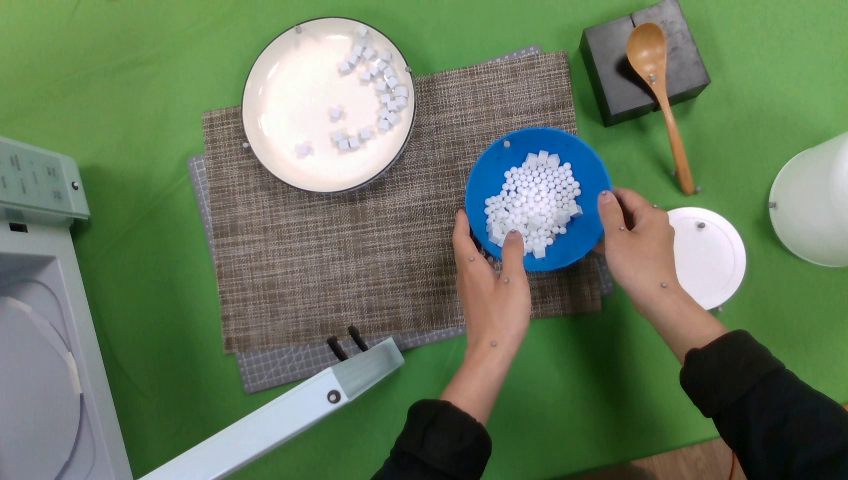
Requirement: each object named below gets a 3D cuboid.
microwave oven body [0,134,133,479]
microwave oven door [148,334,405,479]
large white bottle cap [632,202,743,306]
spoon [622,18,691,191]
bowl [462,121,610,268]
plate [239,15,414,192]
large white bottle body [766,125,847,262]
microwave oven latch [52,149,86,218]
[{"bbox_3d":[-0.541,0.139,0.643,0.326,0.261,0.440,-18,85,6],"label":"microwave oven body"},{"bbox_3d":[-0.196,0.205,0.589,0.356,0.244,0.039,-32,82,5],"label":"microwave oven door"},{"bbox_3d":[0.288,0.016,0.663,0.115,0.018,0.114,0,87,6],"label":"large white bottle cap"},{"bbox_3d":[0.252,-0.137,0.639,0.041,0.021,0.195,-23,106,4],"label":"spoon"},{"bbox_3d":[0.118,-0.044,0.654,0.151,0.077,0.151,0,87,8],"label":"bowl"},{"bbox_3d":[-0.112,-0.157,0.712,0.209,0.038,0.208,-1,86,8],"label":"plate"},{"bbox_3d":[0.421,-0.048,0.564,0.130,0.185,0.130,-1,86,8],"label":"large white bottle body"},{"bbox_3d":[-0.441,-0.069,0.738,0.030,0.029,0.079,-18,85,6],"label":"microwave oven latch"}]
